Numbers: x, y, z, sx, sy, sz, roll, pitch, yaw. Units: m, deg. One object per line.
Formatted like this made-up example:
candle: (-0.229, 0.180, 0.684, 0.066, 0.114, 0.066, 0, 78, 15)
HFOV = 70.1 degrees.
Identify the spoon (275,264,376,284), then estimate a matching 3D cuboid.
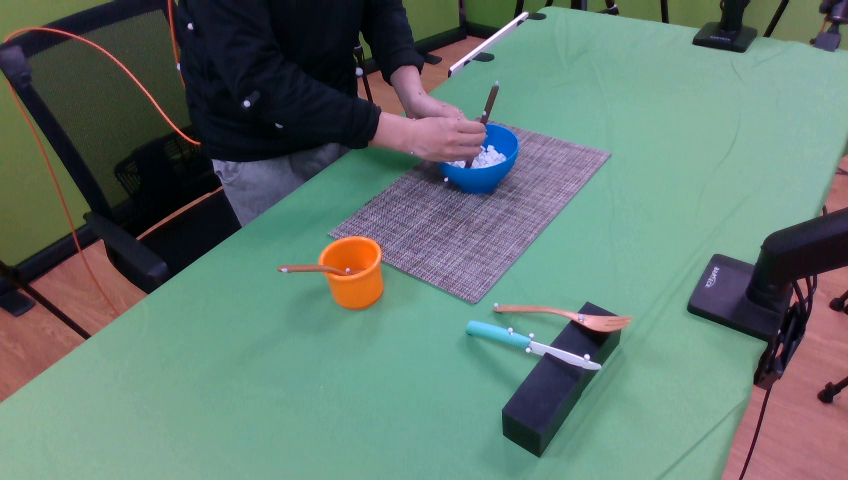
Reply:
spoon: (-0.133, 0.044, 0.839, 0.041, 0.195, 0.021, 24, 95, 33)

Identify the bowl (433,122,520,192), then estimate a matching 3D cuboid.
bowl: (0.093, -0.137, 1.064, 0.151, 0.077, 0.150, -4, 41, 4)

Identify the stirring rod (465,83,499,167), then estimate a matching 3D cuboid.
stirring rod: (0.094, -0.182, 1.017, 0.014, 0.176, 0.005, -17, 49, -37)

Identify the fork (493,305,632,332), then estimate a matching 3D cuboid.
fork: (0.171, 0.097, 0.783, 0.205, 0.019, 0.028, 4, 40, 43)

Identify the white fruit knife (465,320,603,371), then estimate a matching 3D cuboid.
white fruit knife: (0.128, 0.129, 0.749, 0.205, 0.027, 0.016, 10, 45, 43)
